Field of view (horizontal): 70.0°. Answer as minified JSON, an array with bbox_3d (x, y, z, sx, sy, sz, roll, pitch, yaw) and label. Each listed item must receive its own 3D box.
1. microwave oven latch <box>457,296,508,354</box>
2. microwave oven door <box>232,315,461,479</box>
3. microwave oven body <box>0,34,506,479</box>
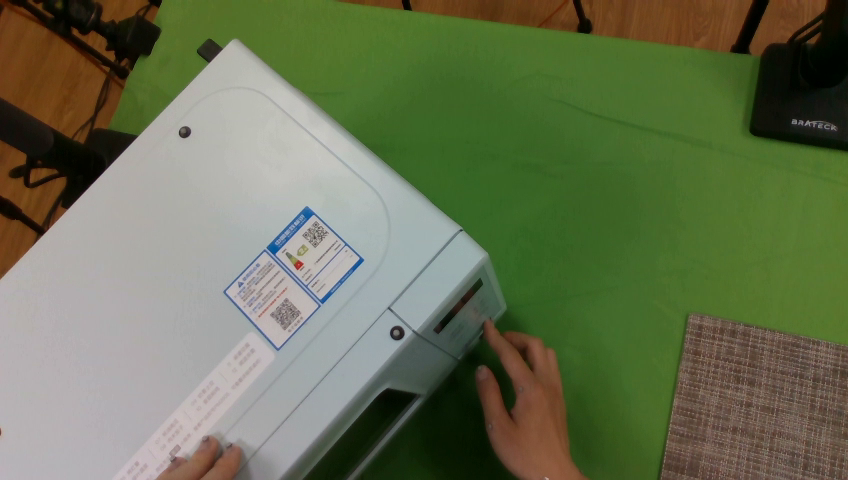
[{"bbox_3d":[0.055,0.083,0.644,0.079,0.030,0.030,-46,72,-3],"label":"microwave oven latch"},{"bbox_3d":[-0.114,0.216,0.533,0.039,0.245,0.355,41,86,19],"label":"microwave oven door"},{"bbox_3d":[-0.189,0.095,0.586,0.324,0.262,0.441,41,86,18],"label":"microwave oven body"}]
